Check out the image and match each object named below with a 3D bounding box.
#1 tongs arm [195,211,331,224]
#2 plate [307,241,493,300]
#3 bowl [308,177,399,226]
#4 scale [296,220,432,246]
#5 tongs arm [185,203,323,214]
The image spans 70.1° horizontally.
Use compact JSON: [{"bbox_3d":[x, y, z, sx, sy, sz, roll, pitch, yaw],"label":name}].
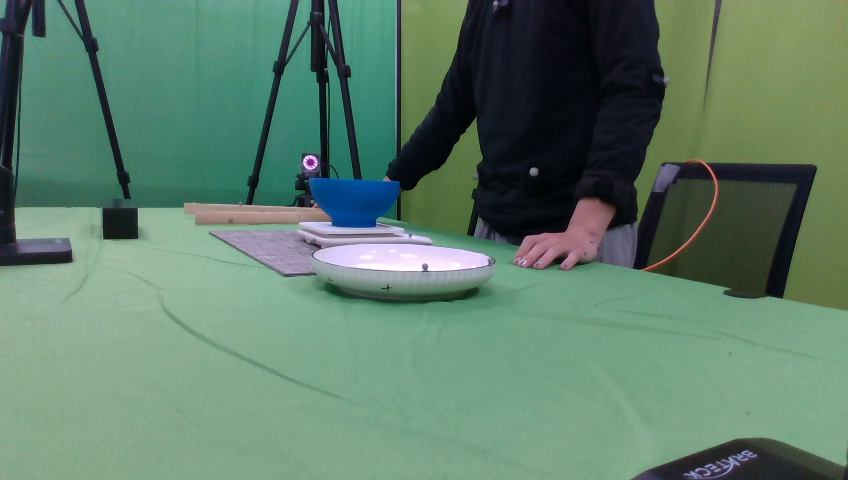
[{"bbox_3d":[-0.297,-0.051,1.309,0.390,0.028,0.028,-2,6,-38],"label":"tongs arm"},{"bbox_3d":[-0.027,0.034,0.684,0.208,0.039,0.207,2,7,0],"label":"plate"},{"bbox_3d":[-0.116,-0.064,1.001,0.151,0.077,0.151,2,6,0],"label":"bowl"},{"bbox_3d":[-0.101,-0.012,1.017,0.202,0.031,0.148,-1,8,-30],"label":"scale"},{"bbox_3d":[-0.336,-0.065,1.378,0.387,0.026,0.050,0,8,-25],"label":"tongs arm"}]
